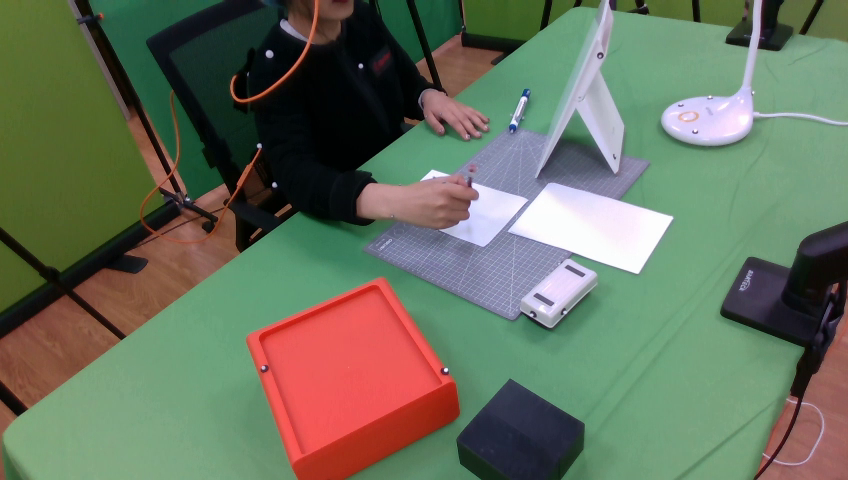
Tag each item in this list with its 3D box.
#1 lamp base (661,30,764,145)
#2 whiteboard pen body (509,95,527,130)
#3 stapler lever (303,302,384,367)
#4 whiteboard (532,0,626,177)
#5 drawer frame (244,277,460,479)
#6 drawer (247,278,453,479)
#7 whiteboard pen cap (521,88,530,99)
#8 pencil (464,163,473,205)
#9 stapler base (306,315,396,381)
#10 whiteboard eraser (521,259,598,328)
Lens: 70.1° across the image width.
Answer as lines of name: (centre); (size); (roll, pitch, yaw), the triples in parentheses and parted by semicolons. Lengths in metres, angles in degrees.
lamp base: (0.535, -0.287, 1.096); (0.179, 0.181, 0.159); (-10, 40, -4)
whiteboard pen body: (0.199, -0.273, 1.261); (0.017, 0.017, 0.140); (8, 44, 19)
stapler lever: (-0.108, 0.124, 0.805); (0.118, 0.040, 0.026); (-27, 36, -15)
whiteboard: (0.321, -0.258, 1.050); (0.144, 0.306, 0.217); (21, 45, 5)
drawer frame: (-0.093, 0.167, 0.755); (0.202, 0.083, 0.211); (-23, 43, -17)
drawer: (-0.096, 0.167, 0.758); (0.195, 0.073, 0.210); (-22, 43, -16)
whiteboard pen cap: (0.218, -0.312, 1.301); (0.018, 0.018, 0.033); (7, 46, 18)
pencil: (0.067, -0.080, 0.922); (0.012, 0.194, 0.012); (-1, 77, 4)
stapler base: (-0.101, 0.139, 0.819); (0.131, 0.024, 0.041); (-31, 37, -13)
whiteboard eraser: (0.189, 0.076, 0.843); (0.055, 0.042, 0.113); (29, 53, 37)
